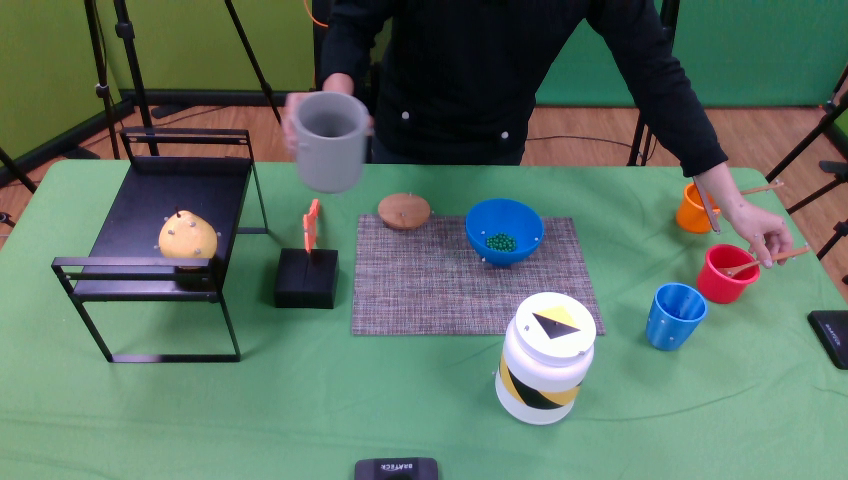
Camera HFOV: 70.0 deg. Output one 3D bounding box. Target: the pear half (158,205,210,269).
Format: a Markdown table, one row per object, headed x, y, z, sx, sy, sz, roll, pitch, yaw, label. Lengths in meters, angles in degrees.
| x | y | z | sx | sy | sz | roll | pitch | yaw | label |
| --- | --- | --- | --- | --- | --- | --- | --- | --- | --- |
| -0.352 | -0.015 | 0.872 | 0.056 | 0.110 | 0.076 | 26 | 46 | 19 | pear half |

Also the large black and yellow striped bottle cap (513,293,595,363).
| x | y | z | sx | sy | sz | roll | pitch | yaw | label |
| --- | --- | --- | --- | --- | --- | --- | --- | --- | --- |
| 0.186 | 0.123 | 0.863 | 0.115 | 0.019 | 0.114 | 3 | 45 | -3 | large black and yellow striped bottle cap |

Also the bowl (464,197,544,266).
| x | y | z | sx | sy | sz | roll | pitch | yaw | label |
| --- | --- | --- | --- | --- | --- | --- | --- | --- | --- |
| 0.149 | -0.004 | 1.167 | 0.151 | 0.077 | 0.150 | 2 | 46 | -2 | bowl |

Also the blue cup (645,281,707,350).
| x | y | z | sx | sy | sz | roll | pitch | yaw | label |
| --- | --- | --- | --- | --- | --- | --- | --- | --- | --- |
| 0.425 | 0.136 | 1.042 | 0.093 | 0.101 | 0.092 | 1 | 45 | -1 | blue cup |

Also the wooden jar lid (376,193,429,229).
| x | y | z | sx | sy | sz | roll | pitch | yaw | label |
| --- | --- | --- | --- | --- | --- | --- | --- | --- | --- |
| -0.044 | -0.058 | 1.246 | 0.108 | 0.021 | 0.107 | 3 | 40 | -2 | wooden jar lid |

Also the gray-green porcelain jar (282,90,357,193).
| x | y | z | sx | sy | sz | roll | pitch | yaw | label |
| --- | --- | --- | --- | --- | --- | --- | --- | --- | --- |
| -0.156 | -0.142 | 0.910 | 0.106 | 0.127 | 0.105 | 5 | 51 | -6 | gray-green porcelain jar |

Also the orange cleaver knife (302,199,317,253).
| x | y | z | sx | sy | sz | roll | pitch | yaw | label |
| --- | --- | --- | --- | --- | --- | --- | --- | --- | --- |
| -0.219 | -0.031 | 1.168 | 0.012 | 0.077 | 0.210 | -5 | 17 | -3 | orange cleaver knife |

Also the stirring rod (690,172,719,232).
| x | y | z | sx | sy | sz | roll | pitch | yaw | label |
| --- | --- | --- | --- | --- | --- | --- | --- | --- | --- |
| 0.566 | -0.080 | 1.225 | 0.014 | 0.006 | 0.175 | 3 | 46 | 1 | stirring rod |

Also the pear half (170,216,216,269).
| x | y | z | sx | sy | sz | roll | pitch | yaw | label |
| --- | --- | --- | --- | --- | --- | --- | --- | --- | --- |
| -0.323 | 0.007 | 0.866 | 0.031 | 0.088 | 0.070 | 25 | 46 | 20 | pear half |

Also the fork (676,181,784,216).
| x | y | z | sx | sy | sz | roll | pitch | yaw | label |
| --- | --- | --- | --- | --- | --- | --- | --- | --- | --- |
| 0.618 | -0.084 | 1.235 | 0.019 | 0.207 | 0.028 | 54 | 40 | -16 | fork |

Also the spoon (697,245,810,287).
| x | y | z | sx | sy | sz | roll | pitch | yaw | label |
| --- | --- | --- | --- | --- | --- | --- | --- | --- | --- |
| 0.603 | 0.045 | 1.115 | 0.193 | 0.022 | 0.041 | -26 | 38 | 33 | spoon |

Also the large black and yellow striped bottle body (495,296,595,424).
| x | y | z | sx | sy | sz | roll | pitch | yaw | label |
| --- | --- | --- | --- | --- | --- | --- | --- | --- | --- |
| 0.183 | 0.182 | 0.923 | 0.131 | 0.185 | 0.130 | 2 | 46 | -2 | large black and yellow striped bottle body |
